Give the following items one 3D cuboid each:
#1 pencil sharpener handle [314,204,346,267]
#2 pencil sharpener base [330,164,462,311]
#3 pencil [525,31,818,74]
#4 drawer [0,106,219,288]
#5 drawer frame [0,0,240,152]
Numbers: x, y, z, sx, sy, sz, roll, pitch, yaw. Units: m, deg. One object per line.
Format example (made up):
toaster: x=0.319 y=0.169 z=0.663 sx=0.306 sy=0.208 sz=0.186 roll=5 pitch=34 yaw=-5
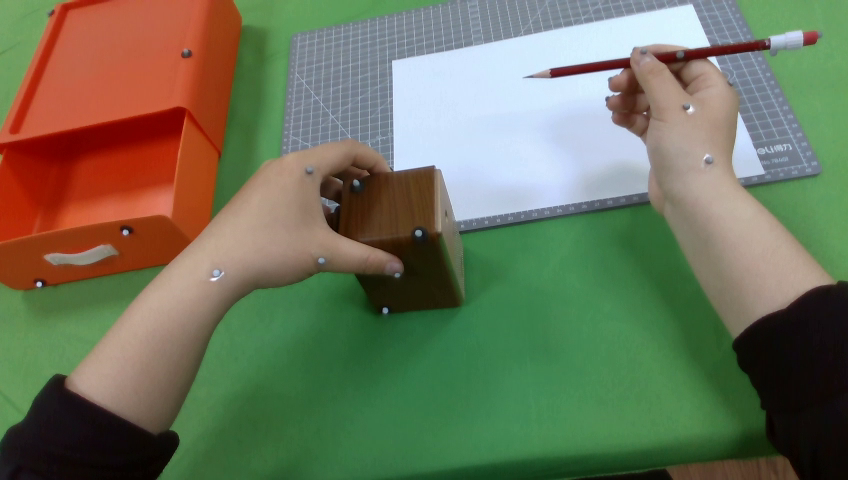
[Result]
pencil sharpener handle: x=-0.070 y=0.002 z=0.443 sx=0.030 sy=0.068 sz=0.035 roll=-7 pitch=61 yaw=10
pencil sharpener base: x=-0.017 y=0.003 z=0.444 sx=0.076 sy=0.108 sz=0.061 roll=-7 pitch=57 yaw=10
pencil: x=0.169 y=-0.131 z=0.432 sx=0.193 sy=0.012 sz=0.012 roll=-2 pitch=58 yaw=17
drawer: x=-0.300 y=-0.071 z=0.574 sx=0.194 sy=0.074 sz=0.209 roll=-10 pitch=57 yaw=8
drawer frame: x=-0.309 y=-0.170 z=0.635 sx=0.201 sy=0.083 sz=0.211 roll=-10 pitch=56 yaw=8
